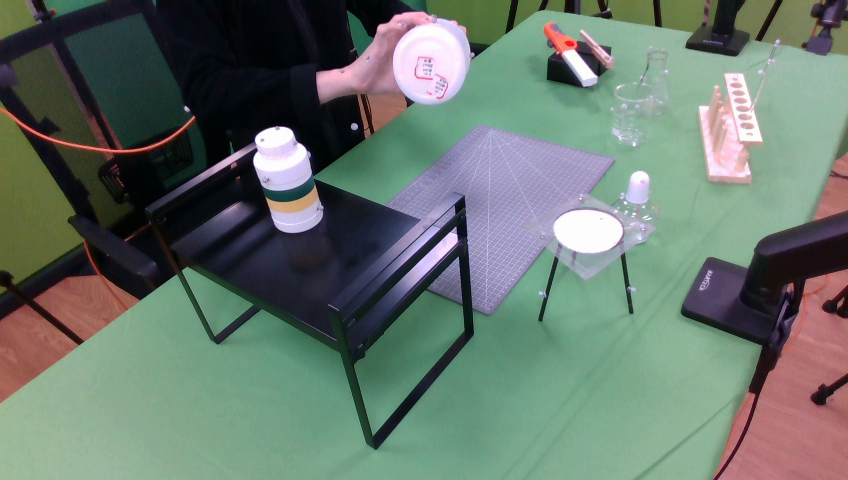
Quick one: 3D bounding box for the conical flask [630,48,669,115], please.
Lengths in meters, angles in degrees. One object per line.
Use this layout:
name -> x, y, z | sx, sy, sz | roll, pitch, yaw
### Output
conical flask -> 0.456, -0.317, 1.205 | 0.075, 0.122, 0.075 | -4, 41, 4

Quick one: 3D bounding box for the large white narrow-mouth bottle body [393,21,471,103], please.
large white narrow-mouth bottle body -> 0.018, -0.266, 0.882 | 0.101, 0.102, 0.194 | 0, 23, 8

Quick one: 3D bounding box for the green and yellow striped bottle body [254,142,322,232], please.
green and yellow striped bottle body -> -0.165, -0.073, 0.732 | 0.063, 0.120, 0.063 | -4, 41, 4

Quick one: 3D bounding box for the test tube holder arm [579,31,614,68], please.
test tube holder arm -> 0.384, -0.428, 1.351 | 0.013, 0.015, 0.177 | -10, 41, -4

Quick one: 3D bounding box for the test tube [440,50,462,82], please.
test tube -> 0.048, -0.298, 1.045 | 0.017, 0.017, 0.151 | 4, 0, 12

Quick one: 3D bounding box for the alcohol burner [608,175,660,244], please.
alcohol burner -> 0.322, -0.053, 0.924 | 0.078, 0.119, 0.077 | -4, 43, 4

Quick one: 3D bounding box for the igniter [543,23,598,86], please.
igniter -> 0.320, -0.419, 1.345 | 0.057, 0.025, 0.274 | -12, 44, -3

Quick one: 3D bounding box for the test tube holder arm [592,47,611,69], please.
test tube holder arm -> 0.386, -0.398, 1.317 | 0.010, 0.015, 0.087 | -10, 41, -3

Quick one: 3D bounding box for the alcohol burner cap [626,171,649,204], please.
alcohol burner cap -> 0.320, -0.081, 0.900 | 0.034, 0.048, 0.033 | -4, 42, 4

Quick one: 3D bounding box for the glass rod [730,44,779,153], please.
glass rod -> 0.556, -0.234, 1.021 | 0.008, 0.200, 0.008 | 2, 40, -1

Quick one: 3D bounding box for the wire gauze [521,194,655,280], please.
wire gauze -> 0.207, -0.012, 0.772 | 0.122, 0.011, 0.124 | -28, 44, -20

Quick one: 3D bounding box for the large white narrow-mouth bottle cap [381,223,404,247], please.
large white narrow-mouth bottle cap -> -0.052, -0.009, 0.992 | 0.038, 0.024, 0.037 | -5, 39, 4

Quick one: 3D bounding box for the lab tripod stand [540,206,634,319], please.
lab tripod stand -> 0.217, 0.034, 0.821 | 0.148, 0.132, 0.147 | -4, 42, 4

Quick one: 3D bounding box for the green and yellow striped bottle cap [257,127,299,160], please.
green and yellow striped bottle cap -> -0.169, -0.112, 0.698 | 0.045, 0.020, 0.045 | -5, 40, 5

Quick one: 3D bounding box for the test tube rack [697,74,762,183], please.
test tube rack -> 0.547, -0.208, 1.095 | 0.066, 0.085, 0.242 | 5, 42, 15

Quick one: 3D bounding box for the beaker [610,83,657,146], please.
beaker -> 0.388, -0.235, 1.138 | 0.074, 0.101, 0.083 | -31, 45, -25
